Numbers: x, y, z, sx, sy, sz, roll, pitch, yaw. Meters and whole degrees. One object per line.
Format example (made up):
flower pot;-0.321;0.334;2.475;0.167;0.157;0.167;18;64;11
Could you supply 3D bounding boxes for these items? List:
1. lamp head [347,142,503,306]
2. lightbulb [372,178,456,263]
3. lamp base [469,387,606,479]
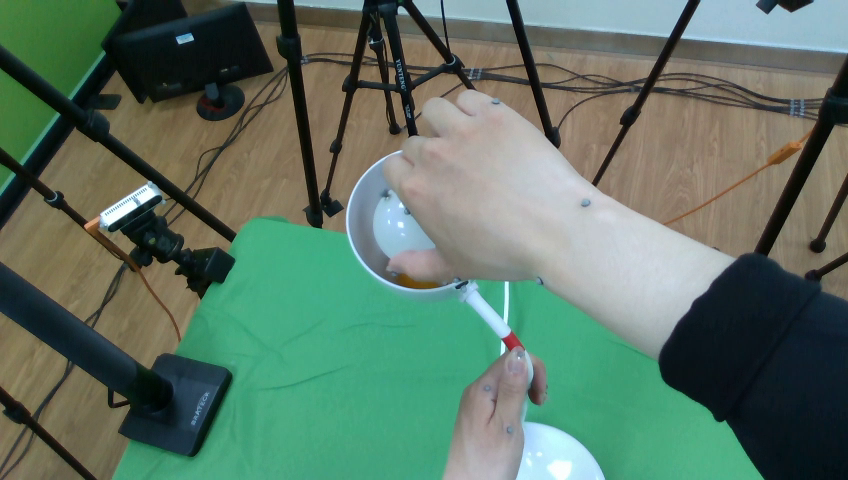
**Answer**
lamp head;0.006;0.001;0.476;0.112;0.124;0.111;-2;67;6
lightbulb;-0.005;-0.009;0.448;0.059;0.108;0.059;-1;79;6
lamp base;0.116;0.239;0.644;0.161;0.182;0.177;-24;56;-7
